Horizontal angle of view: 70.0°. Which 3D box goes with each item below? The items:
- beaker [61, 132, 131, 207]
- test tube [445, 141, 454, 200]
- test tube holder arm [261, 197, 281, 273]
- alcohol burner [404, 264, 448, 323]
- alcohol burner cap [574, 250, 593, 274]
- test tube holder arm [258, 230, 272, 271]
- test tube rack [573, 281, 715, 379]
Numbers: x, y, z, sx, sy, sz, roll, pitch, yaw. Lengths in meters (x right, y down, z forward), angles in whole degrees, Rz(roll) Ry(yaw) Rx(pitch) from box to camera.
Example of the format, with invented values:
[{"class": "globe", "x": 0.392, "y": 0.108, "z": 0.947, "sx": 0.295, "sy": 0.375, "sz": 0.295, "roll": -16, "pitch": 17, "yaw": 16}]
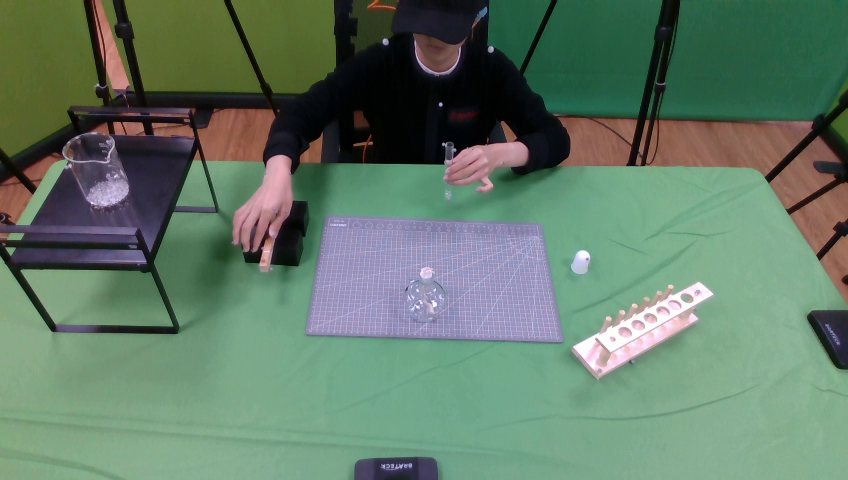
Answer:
[{"class": "beaker", "x": -0.512, "y": -0.107, "z": 0.959, "sx": 0.083, "sy": 0.101, "sz": 0.074, "roll": 29, "pitch": 51, "yaw": 22}, {"class": "test tube", "x": 0.050, "y": -0.132, "z": 1.180, "sx": 0.017, "sy": 0.151, "sz": 0.017, "roll": 0, "pitch": 50, "yaw": 1}, {"class": "test tube holder arm", "x": -0.283, "y": -0.013, "z": 1.119, "sx": 0.015, "sy": 0.013, "sz": 0.177, "roll": -5, "pitch": 49, "yaw": 4}, {"class": "alcohol burner", "x": 0.003, "y": 0.087, "z": 1.042, "sx": 0.078, "sy": 0.120, "sz": 0.077, "roll": 1, "pitch": 45, "yaw": 0}, {"class": "alcohol burner cap", "x": 0.308, "y": 0.039, "z": 1.163, "sx": 0.034, "sy": 0.048, "sz": 0.033, "roll": 1, "pitch": 46, "yaw": -1}, {"class": "test tube holder arm", "x": -0.283, "y": 0.018, "z": 1.086, "sx": 0.015, "sy": 0.010, "sz": 0.087, "roll": -5, "pitch": 48, "yaw": 4}, {"class": "test tube rack", "x": 0.378, "y": 0.140, "z": 1.038, "sx": 0.242, "sy": 0.085, "sz": 0.066, "roll": -22, "pitch": 51, "yaw": -23}]
